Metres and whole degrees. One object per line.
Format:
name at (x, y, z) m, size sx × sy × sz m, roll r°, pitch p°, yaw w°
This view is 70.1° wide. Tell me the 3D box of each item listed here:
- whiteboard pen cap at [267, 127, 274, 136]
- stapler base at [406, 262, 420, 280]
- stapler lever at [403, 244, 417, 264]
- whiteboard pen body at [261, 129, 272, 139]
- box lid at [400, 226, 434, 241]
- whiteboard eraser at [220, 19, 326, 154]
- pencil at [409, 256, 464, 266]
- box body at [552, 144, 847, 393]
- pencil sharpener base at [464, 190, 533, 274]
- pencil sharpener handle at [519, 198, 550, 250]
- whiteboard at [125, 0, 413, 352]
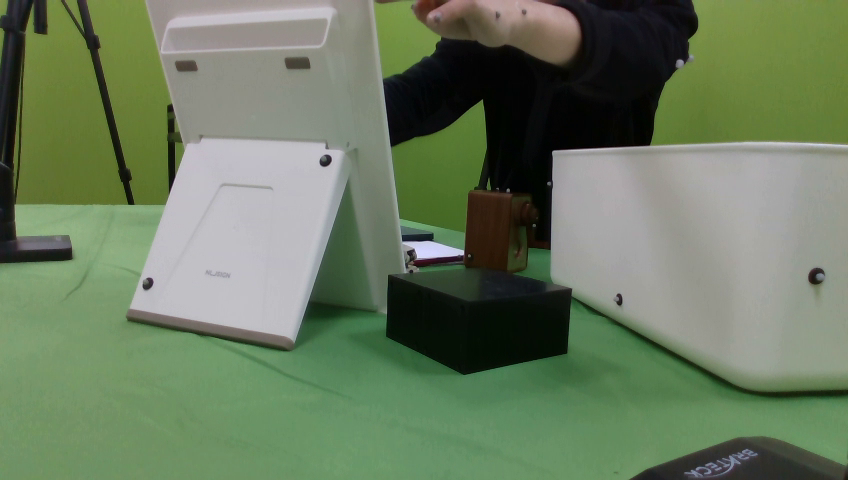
whiteboard pen cap at (-0.340, -0.239, 1.337) m, size 0.018 × 0.018 × 0.033 m, roll 1°, pitch -1°, yaw -14°
stapler base at (-0.069, 0.027, 0.759) m, size 0.130 × 0.024 × 0.041 m, roll 9°, pitch 13°, yaw 23°
stapler lever at (-0.066, 0.003, 0.755) m, size 0.117 × 0.040 × 0.027 m, roll 9°, pitch 13°, yaw 23°
whiteboard pen body at (-0.361, -0.245, 1.393) m, size 0.017 × 0.017 × 0.140 m, roll 0°, pitch 5°, yaw -20°
box lid at (-0.196, -0.015, 1.105) m, size 0.373 × 0.015 × 0.262 m, roll -1°, pitch 7°, yaw -32°
whiteboard eraser at (-0.136, -0.131, 0.528) m, size 0.055 × 0.112 × 0.042 m, roll 37°, pitch 35°, yaw -7°
pencil at (0.041, 0.027, 0.850) m, size 0.195 × 0.012 × 0.012 m, roll -4°, pitch 10°, yaw -44°
box body at (0.290, 0.002, 0.549) m, size 0.255 × 0.160 × 0.363 m, roll 2°, pitch 7°, yaw -10°
pencil sharpener base at (0.103, -0.012, 0.812) m, size 0.076 × 0.107 × 0.061 m, roll 8°, pitch 9°, yaw 36°
pencil sharpener handle at (0.147, -0.020, 0.785) m, size 0.030 × 0.068 × 0.036 m, roll 8°, pitch 26°, yaw 36°
whiteboard at (-0.151, -0.050, 0.471) m, size 0.216 × 0.305 × 0.144 m, roll 6°, pitch 27°, yaw 25°
